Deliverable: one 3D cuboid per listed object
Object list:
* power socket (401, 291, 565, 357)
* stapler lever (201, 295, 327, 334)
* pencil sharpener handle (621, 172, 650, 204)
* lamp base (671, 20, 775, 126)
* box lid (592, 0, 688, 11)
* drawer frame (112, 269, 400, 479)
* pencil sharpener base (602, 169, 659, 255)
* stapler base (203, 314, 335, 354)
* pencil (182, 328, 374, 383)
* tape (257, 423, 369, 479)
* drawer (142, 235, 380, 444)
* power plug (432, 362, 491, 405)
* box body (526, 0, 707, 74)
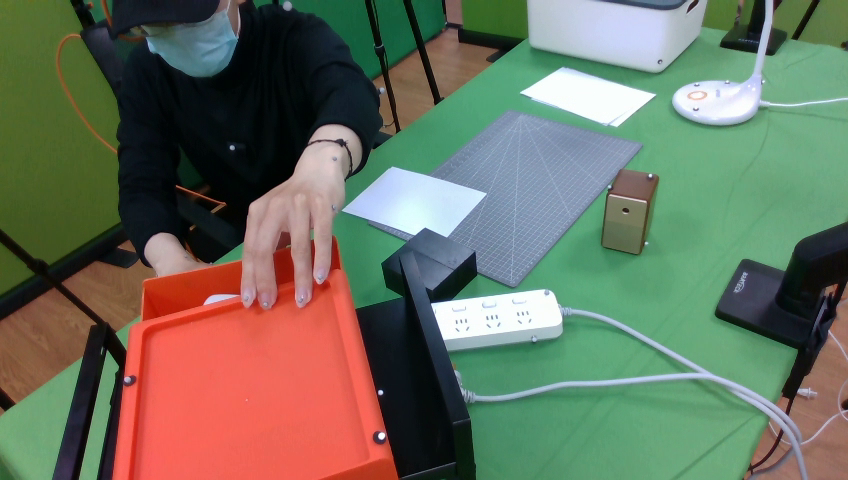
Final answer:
[{"bbox_3d":[0.080,0.113,0.821,0.227,0.033,0.072,-7,41,0],"label":"power socket"},{"bbox_3d":[-0.156,0.072,0.584,0.118,0.040,0.026,-2,45,4],"label":"stapler lever"},{"bbox_3d":[0.328,-0.086,0.940,0.036,0.068,0.030,30,49,7],"label":"pencil sharpener handle"},{"bbox_3d":[0.582,-0.331,1.153,0.179,0.181,0.160,2,42,7],"label":"lamp base"},{"bbox_3d":[0.441,-0.595,1.383,0.368,0.015,0.264,24,49,31],"label":"box lid"},{"bbox_3d":[-0.140,0.139,0.506,0.202,0.083,0.212,-15,42,-10],"label":"drawer frame"},{"bbox_3d":[0.312,-0.044,0.913,0.061,0.107,0.077,14,45,24],"label":"pencil sharpener base"},{"bbox_3d":[-0.156,0.090,0.600,0.130,0.024,0.041,0,45,3],"label":"stapler base"},{"bbox_3d":[-0.141,0.108,0.577,0.194,0.012,0.012,13,43,6],"label":"pencil"},{"bbox_3d":[-0.120,0.263,0.659,0.117,0.053,0.116,-4,40,4],"label":"tape"},{"bbox_3d":[-0.155,0.105,0.553,0.195,0.073,0.210,-14,42,-8],"label":"drawer"},{"bbox_3d":[0.044,0.182,0.759,0.073,0.035,0.052,24,41,-19],"label":"power plug"},{"bbox_3d":[0.450,-0.540,1.430,0.361,0.161,0.255,24,50,31],"label":"box body"}]
